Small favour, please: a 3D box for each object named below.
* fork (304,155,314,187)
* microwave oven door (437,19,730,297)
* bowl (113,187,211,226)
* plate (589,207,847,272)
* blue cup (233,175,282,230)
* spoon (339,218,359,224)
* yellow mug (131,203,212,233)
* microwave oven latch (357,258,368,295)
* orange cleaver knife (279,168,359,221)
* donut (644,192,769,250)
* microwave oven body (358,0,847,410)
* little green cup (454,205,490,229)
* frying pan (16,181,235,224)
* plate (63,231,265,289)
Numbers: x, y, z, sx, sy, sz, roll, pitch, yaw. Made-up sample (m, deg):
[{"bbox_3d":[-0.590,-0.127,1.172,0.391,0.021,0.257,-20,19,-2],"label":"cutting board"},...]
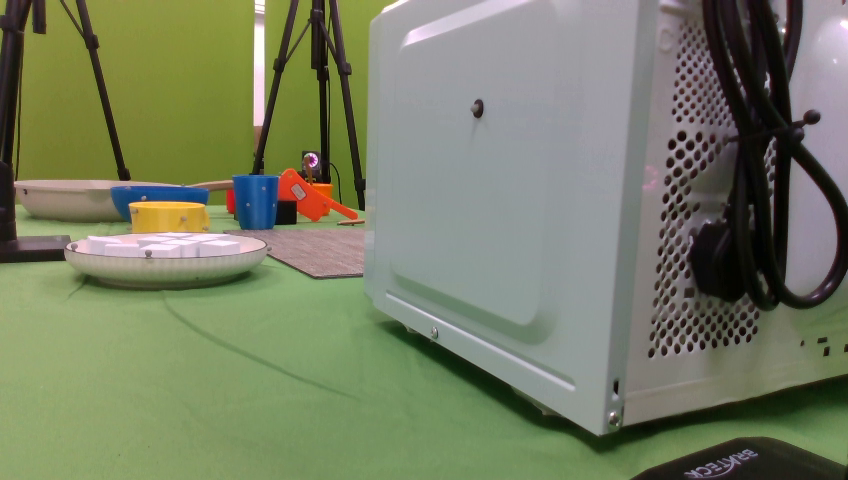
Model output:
[{"bbox_3d":[-0.268,-0.134,1.446,0.028,0.018,0.207,1,-36,-1],"label":"fork"},{"bbox_3d":[0.181,-0.076,0.618,0.358,0.243,0.039,-2,9,-28],"label":"microwave oven door"},{"bbox_3d":[-0.436,-0.046,1.013,0.151,0.077,0.151,2,7,0],"label":"bowl"},{"bbox_3d":[0.246,-0.002,0.510,0.209,0.038,0.209,3,6,0],"label":"plate"},{"bbox_3d":[-0.314,-0.071,1.141,0.093,0.100,0.092,0,7,0],"label":"blue cup"},{"bbox_3d":[-0.087,-0.041,1.268,0.193,0.021,0.041,3,18,14],"label":"spoon"},{"bbox_3d":[-0.356,-0.020,0.878,0.099,0.064,0.131,5,7,22],"label":"yellow mug"},{"bbox_3d":[-0.019,0.031,0.529,0.079,0.029,0.030,-1,7,-26],"label":"microwave oven latch"},{"bbox_3d":[-0.236,-0.084,1.333,0.212,0.077,0.012,31,-9,-31],"label":"orange cleaver knife"},{"bbox_3d":[0.239,-0.016,0.518,0.099,0.048,0.099,2,4,0],"label":"donut"},{"bbox_3d":[0.210,-0.051,0.471,0.444,0.260,0.324,-1,7,-28],"label":"microwave oven body"},{"bbox_3d":[0.080,-0.039,1.015,0.061,0.038,0.061,2,0,0],"label":"little green cup"},{"bbox_3d":[-0.553,-0.097,1.266,0.490,0.102,0.305,-10,13,-24],"label":"frying pan"},{"bbox_3d":[-0.288,0.021,0.687,0.208,0.039,0.207,2,8,0],"label":"plate"}]
